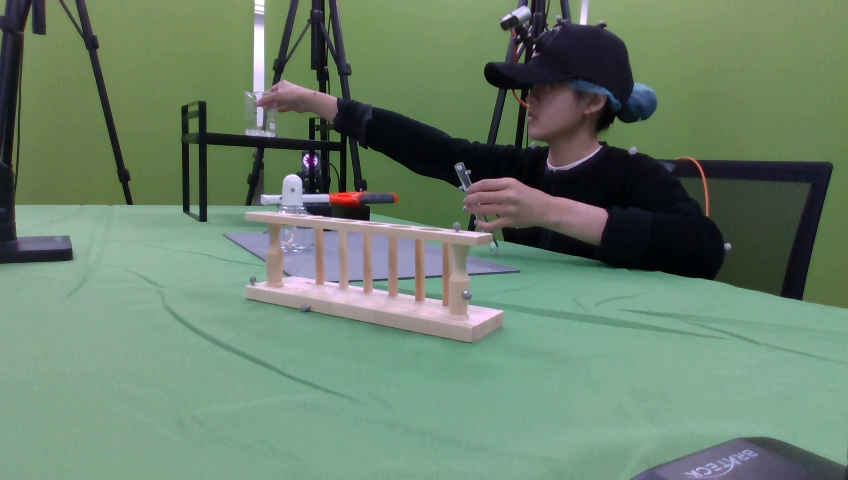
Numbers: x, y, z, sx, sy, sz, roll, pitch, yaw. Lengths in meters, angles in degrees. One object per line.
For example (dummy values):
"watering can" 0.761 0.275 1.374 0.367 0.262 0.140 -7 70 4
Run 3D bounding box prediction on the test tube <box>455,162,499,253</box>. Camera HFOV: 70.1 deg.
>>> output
"test tube" 0.082 -0.050 0.927 0.017 0.150 0.017 -21 -8 -3

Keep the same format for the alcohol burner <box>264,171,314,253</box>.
"alcohol burner" -0.194 -0.042 0.888 0.078 0.119 0.078 3 5 0

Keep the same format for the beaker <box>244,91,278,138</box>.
"beaker" -0.368 -0.280 1.355 0.074 0.100 0.084 4 8 11

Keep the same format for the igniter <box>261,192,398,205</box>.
"igniter" -0.185 -0.083 1.217 0.278 0.025 0.057 -2 12 -24

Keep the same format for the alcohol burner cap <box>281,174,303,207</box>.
"alcohol burner cap" -0.193 -0.072 0.884 0.034 0.048 0.034 1 5 0

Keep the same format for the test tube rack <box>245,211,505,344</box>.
"test tube rack" -0.049 0.025 0.547 0.241 0.085 0.067 7 8 29
